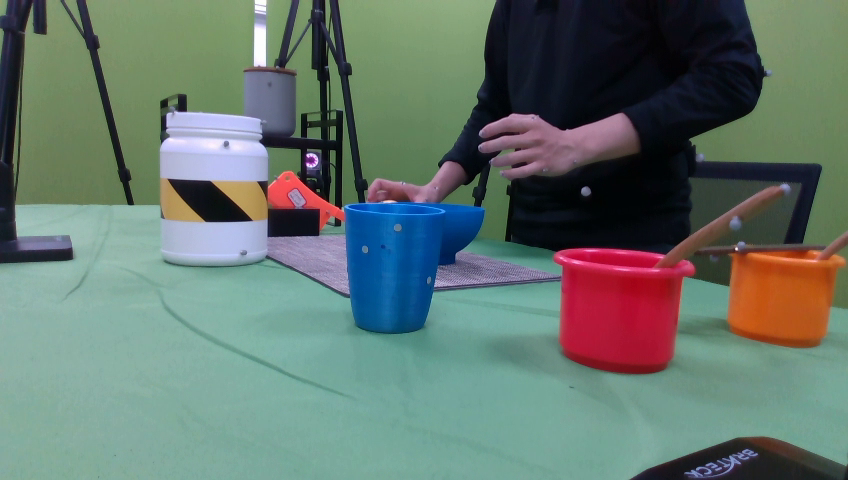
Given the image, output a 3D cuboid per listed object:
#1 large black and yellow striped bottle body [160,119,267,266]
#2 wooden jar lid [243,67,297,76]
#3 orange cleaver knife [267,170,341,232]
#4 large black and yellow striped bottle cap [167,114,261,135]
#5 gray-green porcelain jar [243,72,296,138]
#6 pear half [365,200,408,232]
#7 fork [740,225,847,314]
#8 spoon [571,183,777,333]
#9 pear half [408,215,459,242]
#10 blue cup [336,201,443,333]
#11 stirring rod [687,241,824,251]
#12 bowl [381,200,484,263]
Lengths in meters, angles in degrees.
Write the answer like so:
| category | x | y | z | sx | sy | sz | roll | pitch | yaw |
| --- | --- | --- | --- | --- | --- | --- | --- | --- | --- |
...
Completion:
| category | x | y | z | sx | sy | sz | roll | pitch | yaw |
| --- | --- | --- | --- | --- | --- | --- | --- | --- | --- |
| large black and yellow striped bottle body | -0.272 | -0.065 | 0.789 | 0.131 | 0.184 | 0.130 | 2 | 7 | 0 |
| wooden jar lid | -0.319 | -0.342 | 1.254 | 0.108 | 0.020 | 0.108 | 3 | 8 | 0 |
| orange cleaver knife | -0.201 | -0.056 | 1.136 | 0.212 | 0.077 | 0.012 | 31 | -4 | -31 |
| large black and yellow striped bottle cap | -0.269 | -0.148 | 0.779 | 0.115 | 0.019 | 0.115 | 4 | 8 | 0 |
| gray-green porcelain jar | -0.322 | -0.279 | 1.263 | 0.106 | 0.126 | 0.106 | 3 | 8 | 0 |
| pear half | -0.070 | -0.040 | 1.055 | 0.076 | 0.056 | 0.110 | -2 | 12 | 18 |
| fork | 0.323 | 0.013 | 0.485 | 0.028 | 0.018 | 0.207 | 8 | -37 | -6 |
| spoon | 0.161 | 0.020 | 0.413 | 0.042 | 0.021 | 0.193 | 1 | -36 | -24 |
| pear half | 0.011 | -0.019 | 0.848 | 0.070 | 0.031 | 0.088 | 5 | 12 | 32 |
| blue cup | -0.029 | 0.021 | 0.508 | 0.093 | 0.100 | 0.092 | 3 | 9 | 0 |
| stirring rod | 0.289 | 0.005 | 0.525 | 0.177 | 0.006 | 0.014 | -1 | 5 | -26 |
| bowl | 0.008 | -0.012 | 0.842 | 0.151 | 0.077 | 0.151 | 3 | 8 | 0 |
